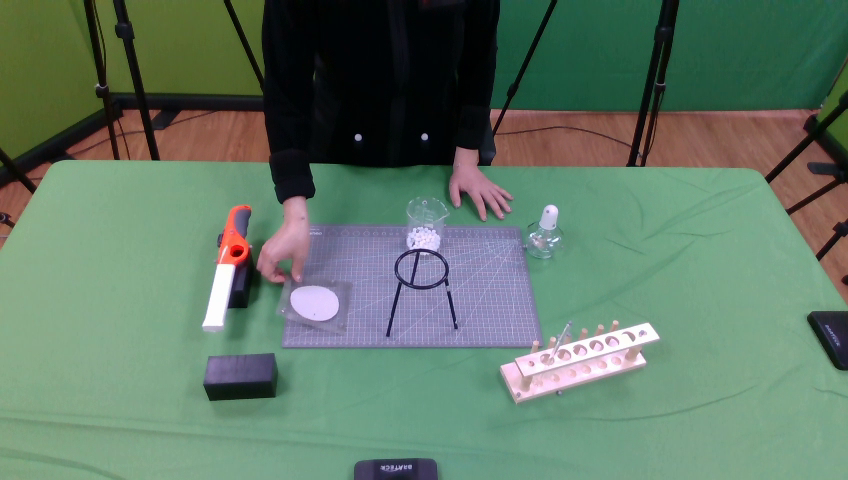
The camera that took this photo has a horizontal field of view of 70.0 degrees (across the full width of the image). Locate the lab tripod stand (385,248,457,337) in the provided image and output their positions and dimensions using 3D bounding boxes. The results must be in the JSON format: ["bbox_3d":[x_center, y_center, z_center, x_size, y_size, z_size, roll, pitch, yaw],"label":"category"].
[{"bbox_3d":[-0.010,0.087,1.032,0.148,0.132,0.147,1,45,-1],"label":"lab tripod stand"}]

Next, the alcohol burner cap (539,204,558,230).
[{"bbox_3d":[0.238,-0.045,1.148,0.034,0.048,0.033,2,42,-1],"label":"alcohol burner cap"}]

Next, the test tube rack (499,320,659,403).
[{"bbox_3d":[0.252,0.187,0.994,0.243,0.085,0.066,-12,48,-15],"label":"test tube rack"}]

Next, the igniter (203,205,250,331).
[{"bbox_3d":[-0.345,0.039,1.065,0.057,0.025,0.274,2,49,-6],"label":"igniter"}]

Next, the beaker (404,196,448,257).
[{"bbox_3d":[0.001,-0.024,1.164,0.084,0.101,0.073,6,46,0],"label":"beaker"}]

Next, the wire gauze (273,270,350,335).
[{"bbox_3d":[-0.196,0.106,1.072,0.125,0.011,0.121,16,37,-10],"label":"wire gauze"}]

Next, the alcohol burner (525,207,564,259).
[{"bbox_3d":[0.236,-0.020,1.174,0.078,0.120,0.077,2,48,-2],"label":"alcohol burner"}]

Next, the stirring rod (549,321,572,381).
[{"bbox_3d":[0.202,0.167,0.901,0.006,0.177,0.014,-16,54,-10],"label":"stirring rod"}]
